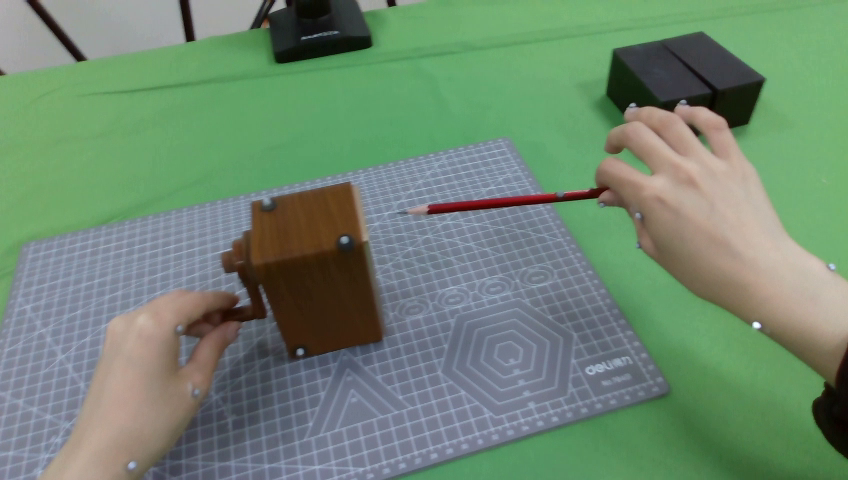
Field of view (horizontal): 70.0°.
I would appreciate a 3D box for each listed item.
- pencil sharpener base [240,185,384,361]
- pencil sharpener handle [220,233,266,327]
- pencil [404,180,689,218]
[{"bbox_3d":[-0.074,0.026,0.412,0.077,0.108,0.060,-12,46,-6],"label":"pencil sharpener base"},{"bbox_3d":[-0.124,0.029,0.396,0.031,0.068,0.035,-12,36,-6],"label":"pencil sharpener handle"},{"bbox_3d":[0.083,-0.026,0.407,0.194,0.012,0.012,-6,45,-2],"label":"pencil"}]
